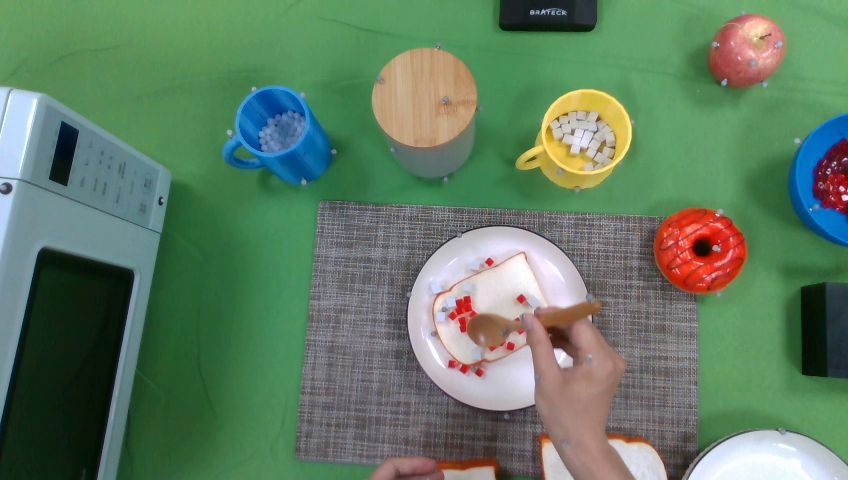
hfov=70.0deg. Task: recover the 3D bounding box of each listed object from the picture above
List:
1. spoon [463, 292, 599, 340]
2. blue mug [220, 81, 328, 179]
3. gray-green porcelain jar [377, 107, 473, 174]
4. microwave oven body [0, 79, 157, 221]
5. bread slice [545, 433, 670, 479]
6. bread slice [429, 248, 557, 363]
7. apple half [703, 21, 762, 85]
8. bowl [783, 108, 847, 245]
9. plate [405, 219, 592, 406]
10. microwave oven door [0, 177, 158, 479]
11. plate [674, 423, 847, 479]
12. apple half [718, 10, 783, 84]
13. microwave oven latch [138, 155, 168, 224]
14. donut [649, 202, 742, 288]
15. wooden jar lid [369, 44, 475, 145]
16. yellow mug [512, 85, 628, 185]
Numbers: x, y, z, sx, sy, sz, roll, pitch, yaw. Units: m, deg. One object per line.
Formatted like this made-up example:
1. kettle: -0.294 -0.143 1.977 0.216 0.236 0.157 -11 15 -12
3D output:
1. spoon: 0.096 0.073 0.579 0.021 0.193 0.042 -40 97 -29
2. blue mug: -0.178 -0.118 0.703 0.116 0.106 0.082 -22 80 0
3. gray-green porcelain jar: 0.002 -0.137 0.686 0.106 0.127 0.105 -1 80 4
4. microwave oven body: -0.501 0.081 0.609 0.326 0.261 0.440 6 82 4
5. bread slice: 0.195 0.259 0.630 0.135 0.018 0.106 -2 77 -17
6. bread slice: 0.073 0.081 0.689 0.131 0.019 0.104 -24 81 -1
7. apple half: 0.347 -0.207 0.702 0.033 0.081 0.081 -29 80 -6
8. bowl: 0.464 -0.062 0.671 0.151 0.077 0.151 -1 81 4
9. plate: 0.083 0.081 0.688 0.207 0.039 0.207 -1 81 4
10. microwave oven door: -0.362 0.138 0.587 0.039 0.245 0.354 6 81 5
11. plate: 0.361 0.298 0.640 0.209 0.038 0.208 -1 81 3
12. apple half: 0.380 -0.227 0.704 0.053 0.075 0.080 -29 76 -7
13. microwave oven latch: -0.327 -0.060 0.719 0.030 0.029 0.079 8 82 4
14. donut: 0.304 0.005 0.683 0.099 0.048 0.098 0 82 3
15. wooden jar lid: -0.002 -0.148 0.624 0.108 0.021 0.108 -1 79 4
16. yellow mug: 0.164 -0.114 0.703 0.131 0.064 0.099 -21 81 1
